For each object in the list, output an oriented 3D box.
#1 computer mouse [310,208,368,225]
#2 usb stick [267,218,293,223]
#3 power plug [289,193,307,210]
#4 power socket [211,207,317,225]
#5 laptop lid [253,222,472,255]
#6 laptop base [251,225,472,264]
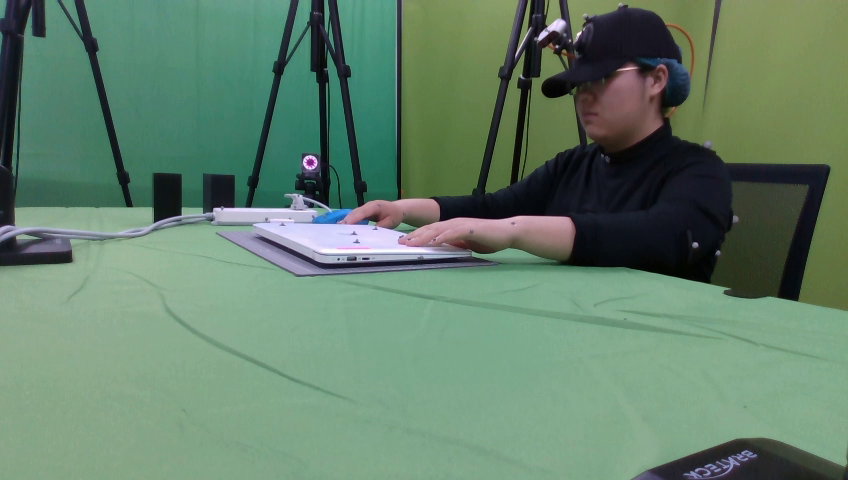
[{"bbox_3d":[-0.179,-0.044,1.274,0.118,0.041,0.062,-6,13,-29],"label":"computer mouse"},{"bbox_3d":[-0.272,-0.026,1.107,0.059,0.027,0.021,-4,11,-27],"label":"usb stick"},{"bbox_3d":[-0.281,-0.076,1.340,0.035,0.052,0.072,4,5,-18],"label":"power plug"},{"bbox_3d":[-0.334,-0.051,1.282,0.228,0.032,0.072,-1,9,-28],"label":"power socket"},{"bbox_3d":[-0.113,-0.005,0.955,0.243,0.013,0.355,1,7,-29],"label":"laptop lid"},{"bbox_3d":[-0.115,0.007,0.955,0.237,0.023,0.352,2,6,-31],"label":"laptop base"}]
